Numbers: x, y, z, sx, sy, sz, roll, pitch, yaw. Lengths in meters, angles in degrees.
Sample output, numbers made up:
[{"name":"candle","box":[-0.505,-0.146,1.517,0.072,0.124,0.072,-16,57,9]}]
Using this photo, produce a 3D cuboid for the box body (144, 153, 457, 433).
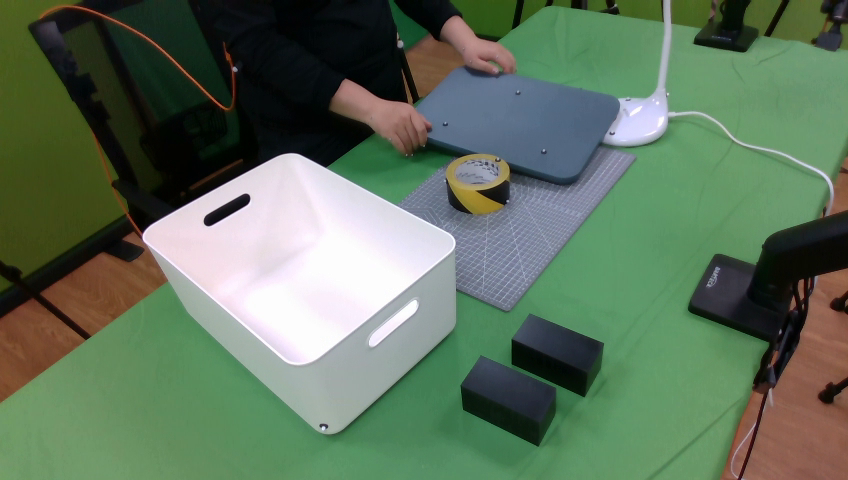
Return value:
[{"name":"box body","box":[-0.158,0.054,0.819,0.361,0.161,0.255,29,52,34]}]

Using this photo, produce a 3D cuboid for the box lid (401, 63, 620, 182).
[{"name":"box lid","box":[0.168,-0.239,1.175,0.369,0.015,0.263,21,53,23]}]

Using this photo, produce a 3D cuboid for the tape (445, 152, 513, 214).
[{"name":"tape","box":[0.095,-0.099,1.042,0.117,0.053,0.116,-4,41,4]}]

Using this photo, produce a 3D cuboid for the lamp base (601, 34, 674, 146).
[{"name":"lamp base","box":[0.393,-0.291,1.129,0.180,0.181,0.159,-11,41,-8]}]
